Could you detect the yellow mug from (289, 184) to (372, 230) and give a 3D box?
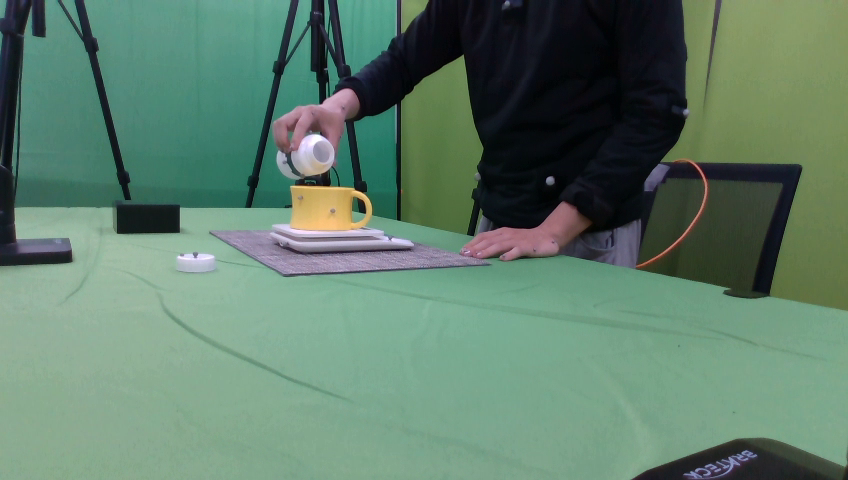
[{"bbox_3d":[-0.145,-0.052,0.943,0.131,0.064,0.100,4,6,9],"label":"yellow mug"}]

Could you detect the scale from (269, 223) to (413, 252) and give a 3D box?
[{"bbox_3d":[-0.132,-0.007,0.965,0.202,0.031,0.148,-2,8,-31],"label":"scale"}]

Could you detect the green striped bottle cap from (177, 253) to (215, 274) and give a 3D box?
[{"bbox_3d":[-0.279,0.028,0.741,0.044,0.020,0.044,5,6,0],"label":"green striped bottle cap"}]

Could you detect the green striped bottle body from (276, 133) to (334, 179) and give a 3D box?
[{"bbox_3d":[-0.191,-0.138,0.989,0.063,0.063,0.118,-3,0,-35],"label":"green striped bottle body"}]
